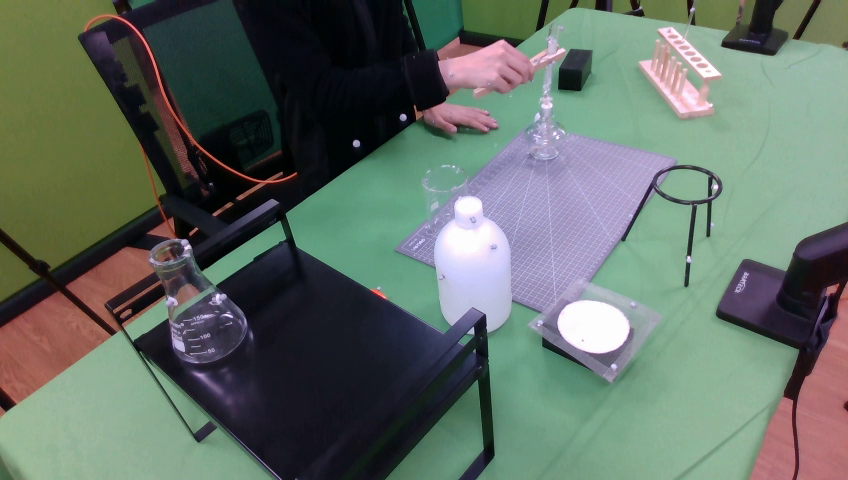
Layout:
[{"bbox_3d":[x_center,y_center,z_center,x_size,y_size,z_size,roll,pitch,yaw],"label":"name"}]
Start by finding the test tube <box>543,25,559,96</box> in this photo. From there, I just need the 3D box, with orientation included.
[{"bbox_3d":[0.211,-0.295,1.007,0.017,0.151,0.017,-2,61,5],"label":"test tube"}]

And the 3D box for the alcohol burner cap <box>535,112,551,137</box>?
[{"bbox_3d":[0.235,-0.231,1.197,0.034,0.048,0.033,-5,38,5],"label":"alcohol burner cap"}]

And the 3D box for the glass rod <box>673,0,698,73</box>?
[{"bbox_3d":[0.537,-0.424,1.244,0.008,0.200,0.008,0,47,0],"label":"glass rod"}]

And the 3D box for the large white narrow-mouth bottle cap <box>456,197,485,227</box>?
[{"bbox_3d":[0.058,-0.035,0.750,0.038,0.024,0.037,-4,40,4],"label":"large white narrow-mouth bottle cap"}]

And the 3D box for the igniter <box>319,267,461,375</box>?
[{"bbox_3d":[-0.060,0.108,0.862,0.274,0.025,0.057,28,62,35],"label":"igniter"}]

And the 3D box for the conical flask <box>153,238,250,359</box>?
[{"bbox_3d":[-0.225,0.055,0.597,0.075,0.122,0.075,-5,41,5],"label":"conical flask"}]

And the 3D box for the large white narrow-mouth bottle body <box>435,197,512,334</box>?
[{"bbox_3d":[0.066,0.028,0.805,0.102,0.195,0.101,-4,40,4],"label":"large white narrow-mouth bottle body"}]

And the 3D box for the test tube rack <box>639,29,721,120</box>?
[{"bbox_3d":[0.527,-0.351,1.262,0.067,0.085,0.241,-8,40,1],"label":"test tube rack"}]

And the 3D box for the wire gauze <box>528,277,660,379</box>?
[{"bbox_3d":[0.213,0.103,0.763,0.124,0.011,0.122,30,52,35],"label":"wire gauze"}]

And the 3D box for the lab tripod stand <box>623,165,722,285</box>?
[{"bbox_3d":[0.365,-0.030,0.874,0.148,0.132,0.147,-6,41,6],"label":"lab tripod stand"}]

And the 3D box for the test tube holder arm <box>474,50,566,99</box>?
[{"bbox_3d":[0.156,-0.267,0.971,0.179,0.015,0.013,-29,59,-18],"label":"test tube holder arm"}]

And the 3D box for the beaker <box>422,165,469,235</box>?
[{"bbox_3d":[0.041,-0.063,0.986,0.073,0.101,0.084,20,47,29],"label":"beaker"}]

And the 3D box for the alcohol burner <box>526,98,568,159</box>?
[{"bbox_3d":[0.228,-0.210,1.118,0.078,0.119,0.077,-5,43,5],"label":"alcohol burner"}]

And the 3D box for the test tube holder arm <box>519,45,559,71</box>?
[{"bbox_3d":[0.188,-0.293,0.989,0.088,0.015,0.010,-37,62,-22],"label":"test tube holder arm"}]
